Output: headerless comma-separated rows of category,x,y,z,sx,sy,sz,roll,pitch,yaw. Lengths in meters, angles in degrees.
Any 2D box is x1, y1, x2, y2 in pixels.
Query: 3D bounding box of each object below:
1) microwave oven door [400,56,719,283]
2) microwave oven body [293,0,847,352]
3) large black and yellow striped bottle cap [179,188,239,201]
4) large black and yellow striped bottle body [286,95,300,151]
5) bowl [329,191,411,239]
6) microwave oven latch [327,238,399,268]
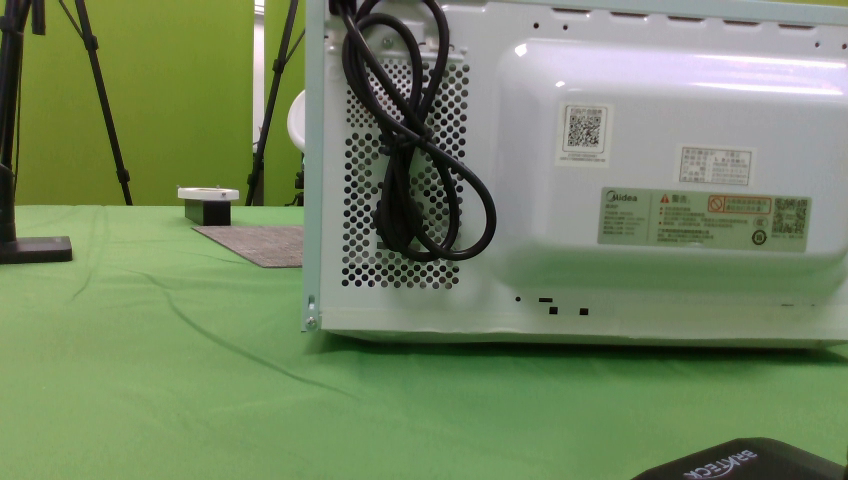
microwave oven door,0.155,-0.077,0.698,0.356,0.243,0.039,2,8,-5
microwave oven body,0.122,-0.055,0.550,0.442,0.260,0.325,3,7,-5
large black and yellow striped bottle cap,-0.434,-0.093,1.226,0.115,0.019,0.115,3,9,0
large black and yellow striped bottle body,-0.126,-0.161,0.996,0.130,0.130,0.185,6,-17,23
bowl,-0.100,-0.046,1.104,0.151,0.077,0.151,3,8,0
microwave oven latch,-0.069,0.015,0.694,0.079,0.029,0.030,3,7,-3
